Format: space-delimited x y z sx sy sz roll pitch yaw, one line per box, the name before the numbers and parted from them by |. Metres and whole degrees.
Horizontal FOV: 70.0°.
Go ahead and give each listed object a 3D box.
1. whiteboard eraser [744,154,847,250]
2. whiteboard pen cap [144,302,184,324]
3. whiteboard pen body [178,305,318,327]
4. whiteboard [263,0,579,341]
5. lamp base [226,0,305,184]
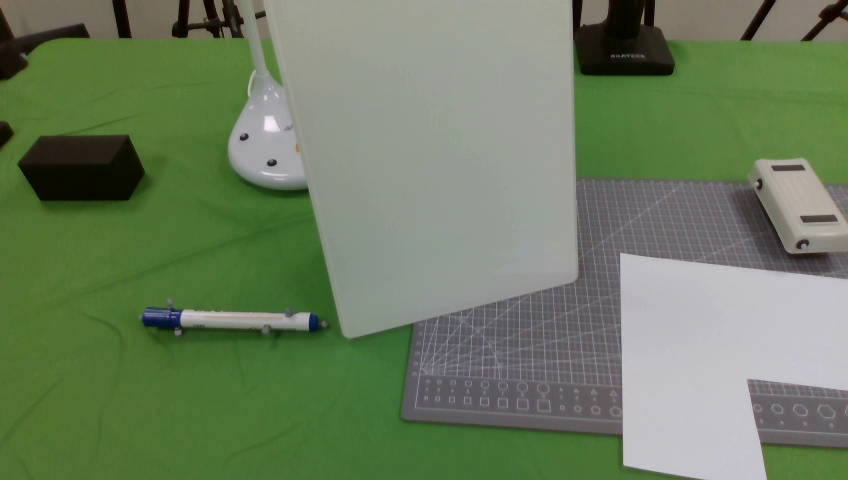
whiteboard eraser | 0.352 -0.035 0.577 0.055 0.042 0.111 0 45 1
whiteboard pen cap | -0.221 0.063 0.521 0.033 0.018 0.018 3 45 -2
whiteboard pen body | -0.162 0.065 0.520 0.141 0.017 0.017 2 45 0
whiteboard | 0.000 -0.102 0.520 0.217 0.308 0.142 -13 27 -9
lamp base | -0.158 -0.178 0.651 0.160 0.182 0.177 -34 50 -28
